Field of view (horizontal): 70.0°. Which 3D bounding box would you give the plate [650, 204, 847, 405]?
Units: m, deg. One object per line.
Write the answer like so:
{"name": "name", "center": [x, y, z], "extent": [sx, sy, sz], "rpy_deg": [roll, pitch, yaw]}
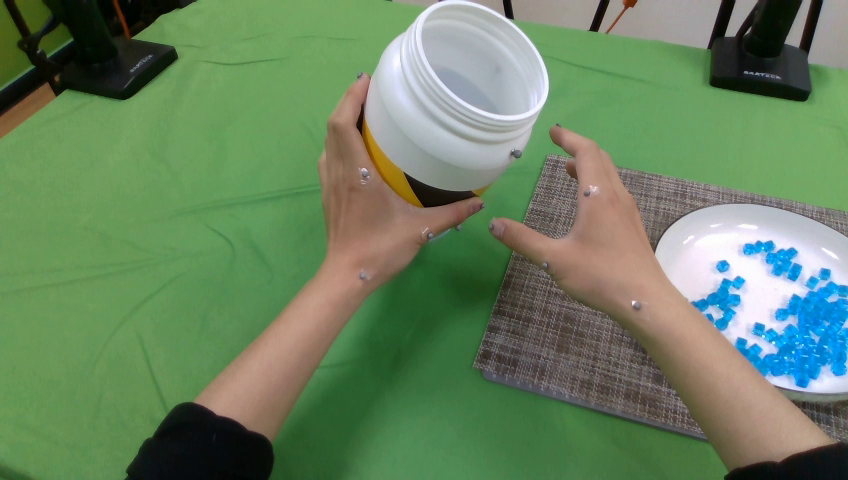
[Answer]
{"name": "plate", "center": [0.300, 0.052, 0.523], "extent": [0.208, 0.039, 0.205], "rpy_deg": [0, 47, 1]}

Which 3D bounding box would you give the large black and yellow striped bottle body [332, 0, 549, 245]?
{"name": "large black and yellow striped bottle body", "center": [0.009, -0.090, 0.502], "extent": [0.131, 0.184, 0.129], "rpy_deg": [12, 59, -20]}
